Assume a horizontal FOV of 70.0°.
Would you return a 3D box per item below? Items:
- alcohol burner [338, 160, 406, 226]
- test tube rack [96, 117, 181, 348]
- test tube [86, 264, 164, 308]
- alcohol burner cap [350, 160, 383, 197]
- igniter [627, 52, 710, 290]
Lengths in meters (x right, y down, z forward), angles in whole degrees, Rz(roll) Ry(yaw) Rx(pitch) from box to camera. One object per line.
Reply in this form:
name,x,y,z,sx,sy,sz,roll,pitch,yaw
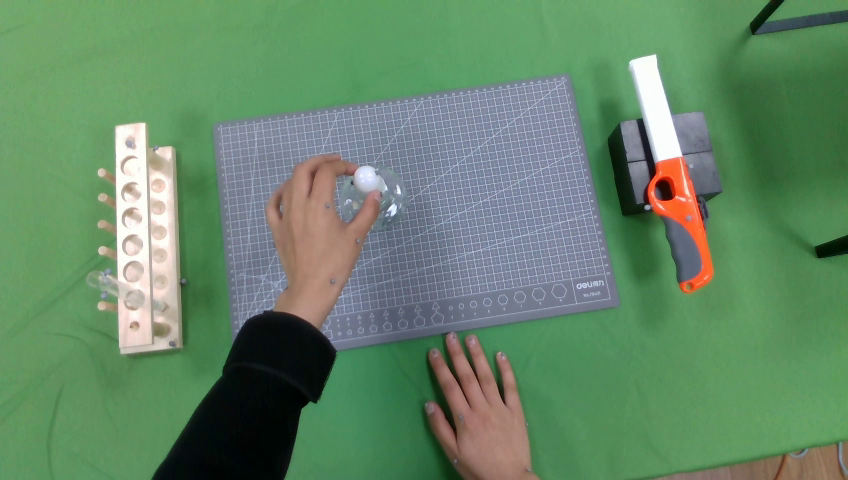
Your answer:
alcohol burner,-0.060,-0.057,0.674,0.078,0.119,0.077,0,80,0
test tube rack,-0.324,-0.006,0.677,0.067,0.085,0.241,-6,79,-2
test tube,-0.300,0.049,0.617,0.017,0.151,0.017,1,74,-2
alcohol burner cap,-0.061,-0.066,0.624,0.034,0.048,0.033,0,79,1
igniter,0.274,-0.081,0.683,0.057,0.025,0.275,-11,78,8
